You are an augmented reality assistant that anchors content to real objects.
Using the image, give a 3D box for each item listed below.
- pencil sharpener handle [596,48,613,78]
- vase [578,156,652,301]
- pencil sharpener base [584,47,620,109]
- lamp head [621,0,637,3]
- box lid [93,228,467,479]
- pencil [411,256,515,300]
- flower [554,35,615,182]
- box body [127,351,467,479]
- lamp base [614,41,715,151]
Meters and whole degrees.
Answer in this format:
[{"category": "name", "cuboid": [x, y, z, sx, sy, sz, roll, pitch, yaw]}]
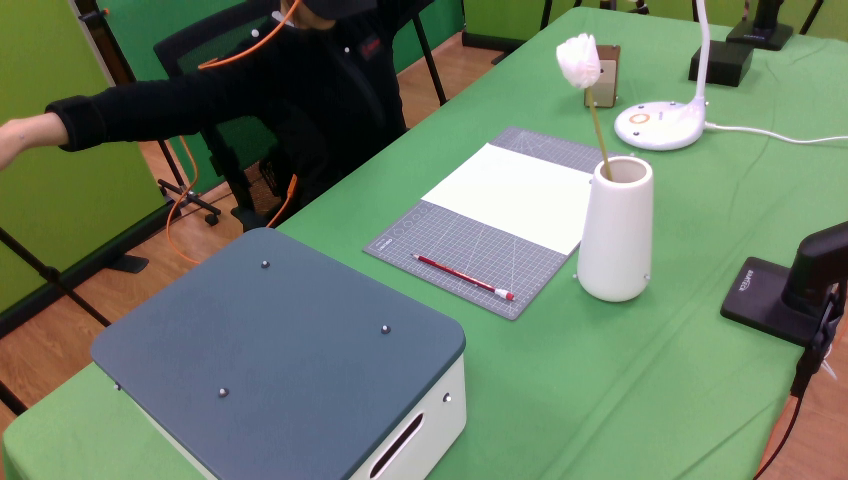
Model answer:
[{"category": "pencil sharpener handle", "cuboid": [0.383, -0.378, 1.276, 0.036, 0.068, 0.030, 3, 41, 22]}, {"category": "vase", "cuboid": [0.261, -0.011, 0.812, 0.098, 0.201, 0.097, -4, 40, 4]}, {"category": "pencil sharpener base", "cuboid": [0.367, -0.336, 1.248, 0.061, 0.107, 0.076, 6, 42, 19]}, {"category": "lamp head", "cuboid": [0.319, -0.453, 0.962, 0.113, 0.123, 0.112, 20, 33, -13]}, {"category": "box lid", "cuboid": [-0.167, 0.110, 0.661, 0.368, 0.015, 0.264, 23, 49, 34]}, {"category": "pencil", "cuboid": [0.054, 0.054, 0.918, 0.192, 0.012, 0.012, 21, 48, 33]}, {"category": "flower", "cuboid": [0.237, -0.083, 0.774, 0.044, 0.363, 0.038, -22, 26, 7]}, {"category": "box body", "cuboid": [-0.155, 0.169, 0.707, 0.361, 0.161, 0.255, 23, 49, 33]}, {"category": "lamp base", "cuboid": [0.449, -0.277, 1.106, 0.179, 0.181, 0.160, 1, 41, 9]}]
